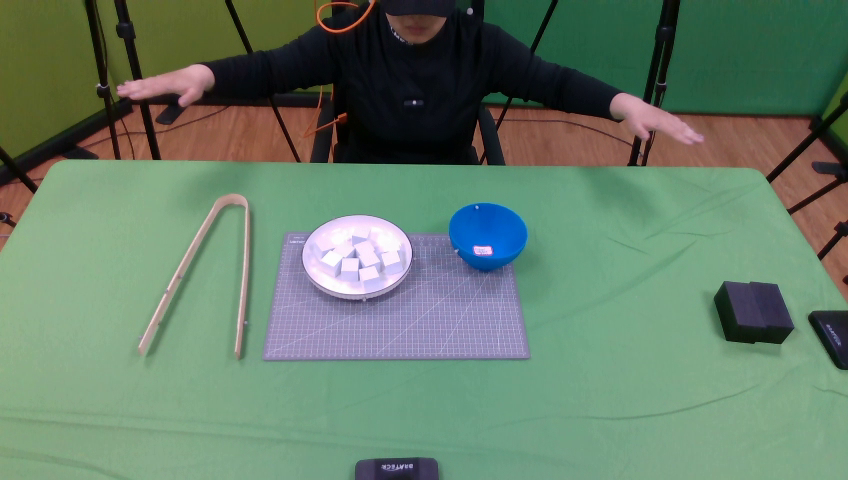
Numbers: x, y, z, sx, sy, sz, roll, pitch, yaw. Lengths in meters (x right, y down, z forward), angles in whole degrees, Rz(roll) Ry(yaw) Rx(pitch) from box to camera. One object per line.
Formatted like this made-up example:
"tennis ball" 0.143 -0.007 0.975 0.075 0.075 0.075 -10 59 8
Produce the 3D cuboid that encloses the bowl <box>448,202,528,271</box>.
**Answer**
"bowl" 0.118 0.006 1.160 0.151 0.077 0.150 2 46 -2

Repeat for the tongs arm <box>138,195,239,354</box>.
"tongs arm" -0.421 0.047 1.111 0.051 0.026 0.382 6 45 0

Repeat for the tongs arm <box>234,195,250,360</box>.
"tongs arm" -0.339 0.053 1.118 0.028 0.028 0.385 -6 47 -7

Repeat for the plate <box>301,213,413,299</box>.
"plate" -0.124 0.033 1.143 0.208 0.039 0.206 2 46 -2
